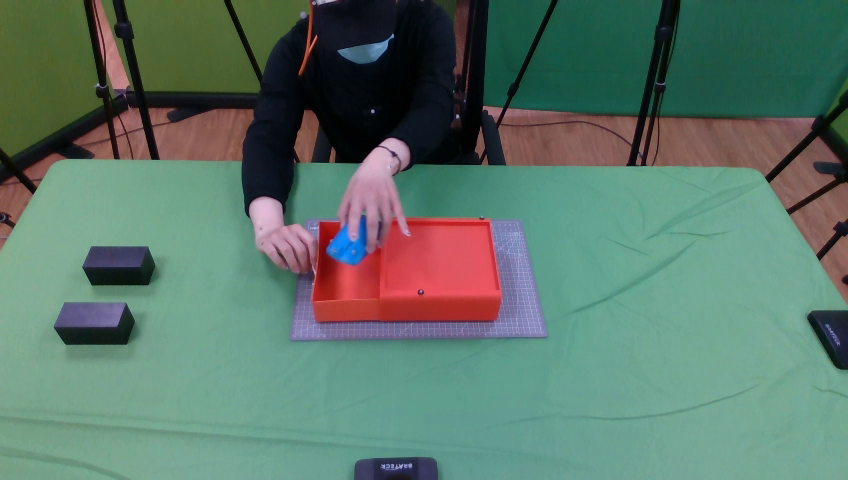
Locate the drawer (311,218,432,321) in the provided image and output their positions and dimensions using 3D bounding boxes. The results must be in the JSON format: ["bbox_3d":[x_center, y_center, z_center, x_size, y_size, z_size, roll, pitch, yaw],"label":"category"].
[{"bbox_3d":[-0.091,0.049,1.096,0.212,0.073,0.193,-1,46,-3],"label":"drawer"}]

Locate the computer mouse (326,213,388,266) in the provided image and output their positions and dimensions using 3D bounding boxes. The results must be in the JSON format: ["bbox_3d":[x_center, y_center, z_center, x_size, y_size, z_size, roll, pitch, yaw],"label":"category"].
[{"bbox_3d":[-0.114,-0.005,1.043,0.062,0.041,0.117,26,47,16],"label":"computer mouse"}]

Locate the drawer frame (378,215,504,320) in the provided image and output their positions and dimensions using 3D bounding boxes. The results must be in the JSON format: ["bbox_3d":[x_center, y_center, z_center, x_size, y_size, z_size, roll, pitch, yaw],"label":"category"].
[{"bbox_3d":[0.024,0.047,1.103,0.214,0.083,0.200,0,46,-4],"label":"drawer frame"}]
